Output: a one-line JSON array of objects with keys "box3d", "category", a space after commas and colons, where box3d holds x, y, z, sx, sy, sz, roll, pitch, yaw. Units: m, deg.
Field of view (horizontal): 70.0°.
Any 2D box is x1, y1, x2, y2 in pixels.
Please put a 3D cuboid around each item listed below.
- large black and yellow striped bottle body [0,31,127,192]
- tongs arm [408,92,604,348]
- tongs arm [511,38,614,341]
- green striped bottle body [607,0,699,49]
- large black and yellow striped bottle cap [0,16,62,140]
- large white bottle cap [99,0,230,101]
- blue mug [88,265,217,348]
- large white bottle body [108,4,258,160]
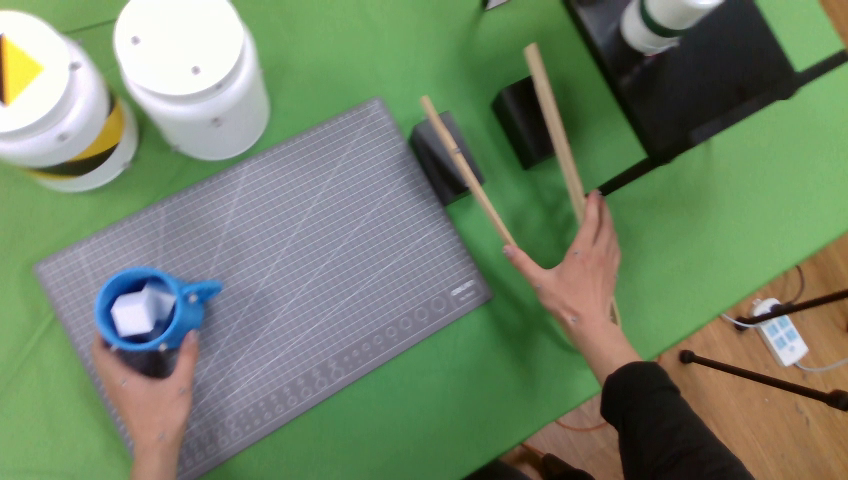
[{"box3d": [-0.403, -0.132, 0.625, 0.131, 0.184, 0.130, 1, 80, -9], "category": "large black and yellow striped bottle body"}, {"box3d": [0.104, -0.019, 0.732, 0.051, 0.026, 0.386, -35, 100, -15], "category": "tongs arm"}, {"box3d": [0.172, -0.058, 0.752, 0.028, 0.027, 0.388, -22, 97, -20], "category": "tongs arm"}, {"box3d": [0.234, -0.244, 0.596, 0.063, 0.119, 0.063, 1, 80, -9], "category": "green striped bottle body"}, {"box3d": [-0.391, -0.147, 0.544, 0.115, 0.019, 0.114, 2, 82, -11], "category": "large black and yellow striped bottle cap"}, {"box3d": [-0.244, -0.188, 0.573, 0.115, 0.018, 0.114, 2, 80, -9], "category": "large white bottle cap"}, {"box3d": [-0.281, 0.068, 0.653, 0.116, 0.106, 0.082, -22, 85, -12], "category": "blue mug"}, {"box3d": [-0.256, -0.173, 0.655, 0.131, 0.185, 0.130, 1, 81, -9], "category": "large white bottle body"}]
